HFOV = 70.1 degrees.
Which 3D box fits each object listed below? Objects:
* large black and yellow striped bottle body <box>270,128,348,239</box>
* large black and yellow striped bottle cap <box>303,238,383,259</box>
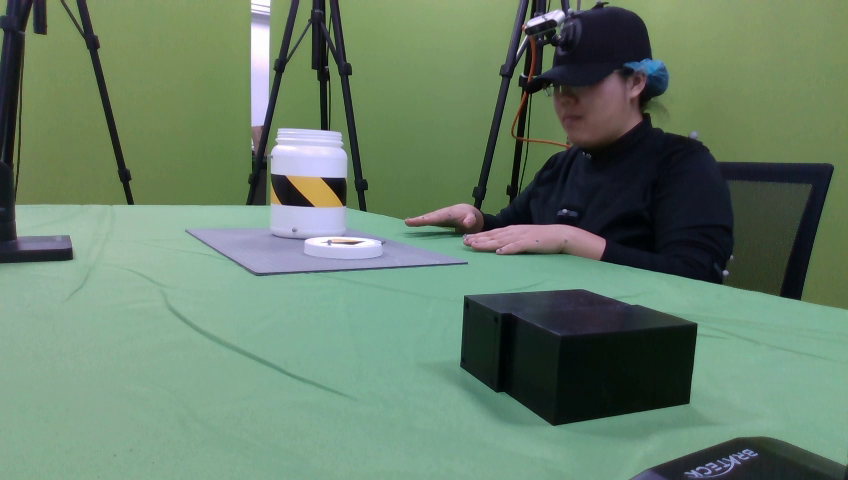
[{"bbox_3d":[-0.200,-0.099,1.053,0.131,0.184,0.130,3,8,0],"label":"large black and yellow striped bottle body"},{"bbox_3d":[-0.117,0.011,0.880,0.115,0.019,0.115,2,6,0],"label":"large black and yellow striped bottle cap"}]
